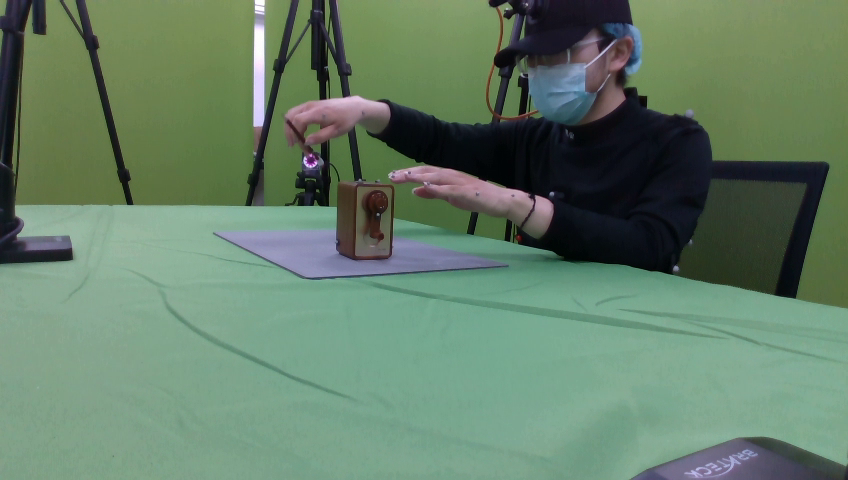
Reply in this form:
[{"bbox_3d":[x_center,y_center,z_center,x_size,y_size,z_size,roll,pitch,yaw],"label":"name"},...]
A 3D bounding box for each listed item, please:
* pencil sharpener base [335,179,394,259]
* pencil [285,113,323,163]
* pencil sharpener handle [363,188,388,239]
[{"bbox_3d":[-0.084,-0.030,0.855,0.061,0.107,0.076,-1,9,-29],"label":"pencil sharpener base"},{"bbox_3d":[-0.207,-0.174,1.049,0.012,0.012,0.194,3,-15,8],"label":"pencil"},{"bbox_3d":[-0.061,-0.035,0.809,0.036,0.067,0.030,4,6,-29],"label":"pencil sharpener handle"}]
